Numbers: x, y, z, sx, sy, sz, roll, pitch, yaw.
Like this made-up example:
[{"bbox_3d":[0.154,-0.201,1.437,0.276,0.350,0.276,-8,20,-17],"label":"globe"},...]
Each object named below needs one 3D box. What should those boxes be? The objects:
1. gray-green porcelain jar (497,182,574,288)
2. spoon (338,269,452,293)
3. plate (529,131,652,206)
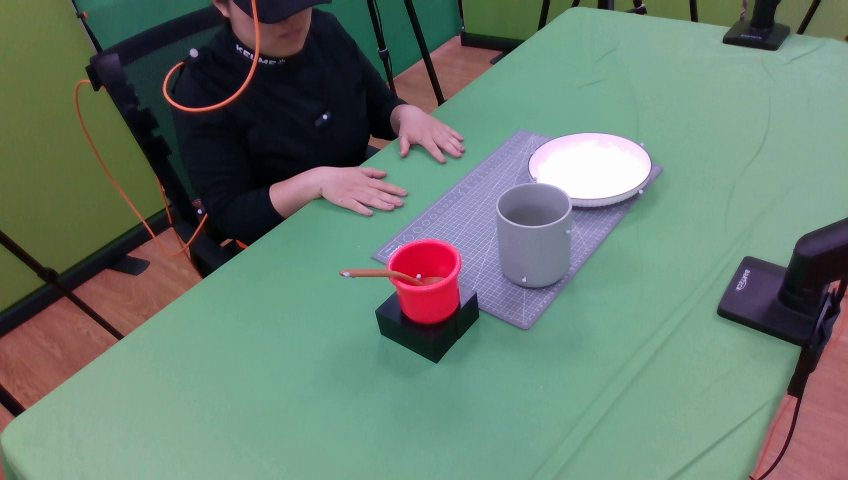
[{"bbox_3d":[0.160,-0.003,0.869,0.106,0.127,0.105,-5,40,5],"label":"gray-green porcelain jar"},{"bbox_3d":[-0.033,0.047,0.758,0.041,0.021,0.195,30,10,41],"label":"spoon"},{"bbox_3d":[0.287,-0.122,1.056,0.207,0.039,0.206,-5,40,5],"label":"plate"}]
